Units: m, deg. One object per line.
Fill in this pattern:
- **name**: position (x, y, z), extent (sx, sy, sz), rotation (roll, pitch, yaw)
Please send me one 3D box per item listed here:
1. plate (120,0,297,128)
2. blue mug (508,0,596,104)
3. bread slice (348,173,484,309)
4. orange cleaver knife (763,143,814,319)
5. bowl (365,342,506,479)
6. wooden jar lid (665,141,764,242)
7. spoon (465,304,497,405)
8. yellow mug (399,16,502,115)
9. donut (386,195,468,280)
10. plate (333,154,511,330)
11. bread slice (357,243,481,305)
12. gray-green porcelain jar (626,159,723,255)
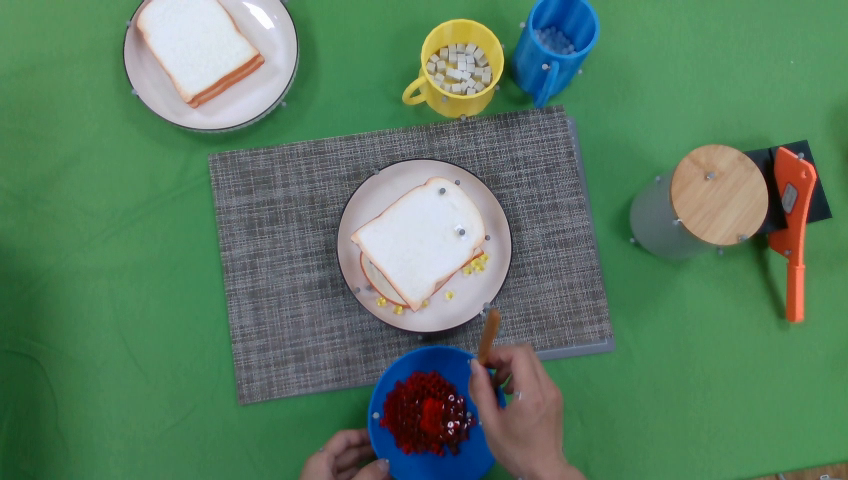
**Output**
- **plate**: position (-0.258, -0.234, 0.741), extent (0.208, 0.039, 0.207), rotation (1, 81, -4)
- **blue mug**: position (0.149, -0.222, 0.733), extent (0.082, 0.106, 0.116), rotation (12, 81, -1)
- **bread slice**: position (-0.002, -0.008, 0.661), extent (0.134, 0.018, 0.107), rotation (-44, 93, -16)
- **orange cleaver knife**: position (0.435, -0.009, 0.731), extent (0.012, 0.076, 0.212), rotation (-10, 108, -4)
- **bowl**: position (0.009, 0.189, 0.674), extent (0.151, 0.077, 0.151), rotation (1, 81, -6)
- **wooden jar lid**: position (0.306, -0.051, 0.643), extent (0.108, 0.021, 0.108), rotation (1, 84, -6)
- **spoon**: position (0.058, 0.118, 0.602), extent (0.021, 0.195, 0.041), rotation (-28, 59, -16)
- **yellow mug**: position (0.028, -0.205, 0.742), extent (0.131, 0.064, 0.099), rotation (-29, 84, -6)
- **donut**: position (0.005, -0.002, 0.692), extent (0.099, 0.048, 0.098), rotation (5, 76, -20)
- **plate**: position (-0.002, 0.002, 0.719), extent (0.209, 0.038, 0.208), rotation (1, 81, -3)
- **bread slice**: position (-0.011, 0.013, 0.720), extent (0.131, 0.019, 0.104), rotation (-41, 85, -11)
- **gray-green porcelain jar**: position (0.303, -0.040, 0.705), extent (0.106, 0.127, 0.105), rotation (1, 81, -4)
